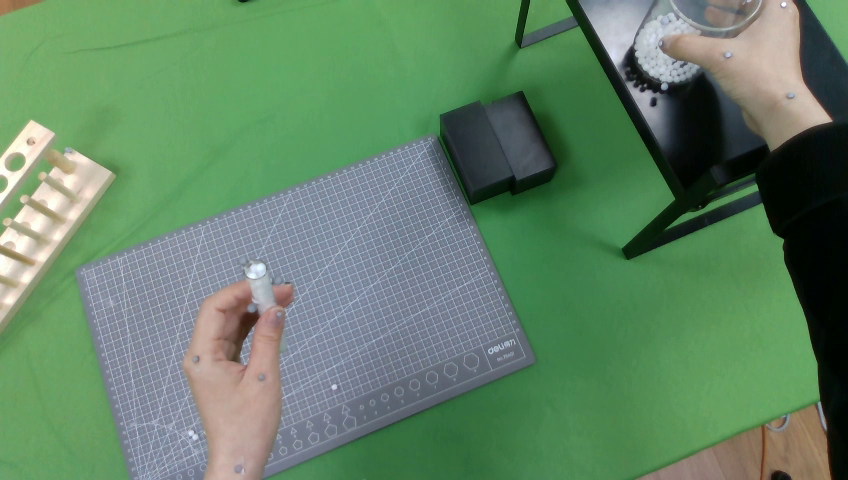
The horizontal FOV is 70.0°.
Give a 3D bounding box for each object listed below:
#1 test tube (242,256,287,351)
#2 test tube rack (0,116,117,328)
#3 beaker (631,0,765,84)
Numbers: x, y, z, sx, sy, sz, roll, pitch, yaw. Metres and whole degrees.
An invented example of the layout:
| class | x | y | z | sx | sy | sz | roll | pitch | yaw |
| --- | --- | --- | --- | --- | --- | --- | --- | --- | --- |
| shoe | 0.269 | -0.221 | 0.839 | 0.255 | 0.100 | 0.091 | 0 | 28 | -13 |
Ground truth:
| class | x | y | z | sx | sy | sz | roll | pitch | yaw |
| --- | --- | --- | --- | --- | --- | --- | --- | --- | --- |
| test tube | -0.116 | 0.052 | 0.448 | 0.017 | 0.151 | 0.017 | 3 | 61 | -5 |
| test tube rack | -0.461 | -0.008 | 0.671 | 0.066 | 0.085 | 0.241 | 29 | 78 | 9 |
| beaker | 0.220 | -0.184 | 0.507 | 0.074 | 0.100 | 0.083 | -24 | 78 | -4 |
